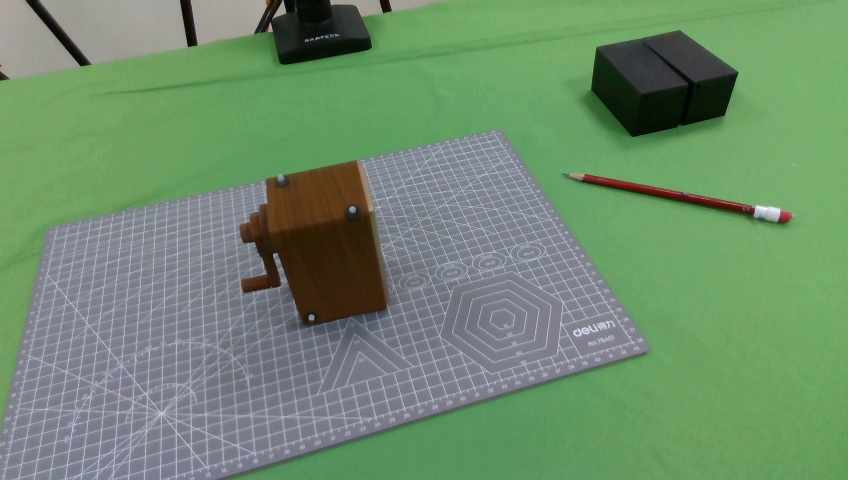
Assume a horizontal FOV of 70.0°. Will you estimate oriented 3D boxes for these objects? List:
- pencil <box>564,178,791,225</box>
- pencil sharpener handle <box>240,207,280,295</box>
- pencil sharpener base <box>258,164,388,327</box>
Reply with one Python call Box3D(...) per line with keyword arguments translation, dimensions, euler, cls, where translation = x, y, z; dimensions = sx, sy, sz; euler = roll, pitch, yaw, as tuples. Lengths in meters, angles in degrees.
Box3D(translation=(0.222, -0.038, 0.546), dimensions=(0.193, 0.012, 0.012), euler=(14, 47, 20), cls="pencil")
Box3D(translation=(-0.123, 0.010, 0.433), dimensions=(0.031, 0.068, 0.035), euler=(-12, 34, -6), cls="pencil sharpener handle")
Box3D(translation=(-0.073, 0.007, 0.450), dimensions=(0.077, 0.108, 0.060), euler=(-12, 45, -6), cls="pencil sharpener base")
